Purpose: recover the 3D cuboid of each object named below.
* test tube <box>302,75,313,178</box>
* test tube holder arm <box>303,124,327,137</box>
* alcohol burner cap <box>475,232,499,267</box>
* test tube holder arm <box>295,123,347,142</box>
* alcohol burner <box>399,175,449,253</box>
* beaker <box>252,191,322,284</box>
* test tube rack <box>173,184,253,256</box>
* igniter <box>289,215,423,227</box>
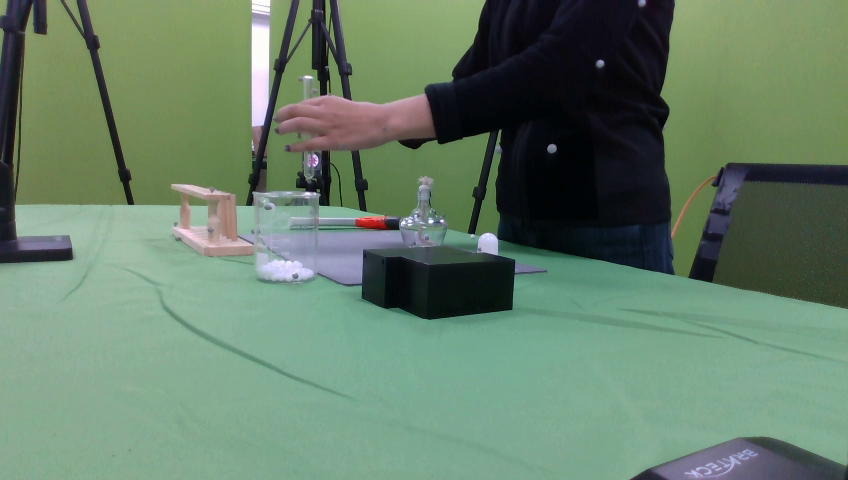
[{"bbox_3d":[-0.172,-0.167,0.895,0.017,0.150,0.017,2,11,0],"label":"test tube"},{"bbox_3d":[-0.164,-0.166,0.918,0.010,0.015,0.088,8,6,6],"label":"test tube holder arm"},{"bbox_3d":[0.088,0.012,0.830,0.034,0.048,0.034,3,6,0],"label":"alcohol burner cap"},{"bbox_3d":[-0.160,-0.170,0.963,0.013,0.015,0.179,9,7,13],"label":"test tube holder arm"},{"bbox_3d":[-0.001,-0.041,0.936,0.078,0.119,0.078,0,8,0],"label":"alcohol burner"},{"bbox_3d":[-0.159,-0.005,0.685,0.083,0.100,0.074,4,7,23],"label":"beaker"},{"bbox_3d":[-0.329,-0.036,0.927,0.067,0.085,0.241,-2,9,-32],"label":"test tube rack"},{"bbox_3d":[-0.133,-0.038,1.231,0.278,0.025,0.057,-1,-2,-25],"label":"igniter"}]
